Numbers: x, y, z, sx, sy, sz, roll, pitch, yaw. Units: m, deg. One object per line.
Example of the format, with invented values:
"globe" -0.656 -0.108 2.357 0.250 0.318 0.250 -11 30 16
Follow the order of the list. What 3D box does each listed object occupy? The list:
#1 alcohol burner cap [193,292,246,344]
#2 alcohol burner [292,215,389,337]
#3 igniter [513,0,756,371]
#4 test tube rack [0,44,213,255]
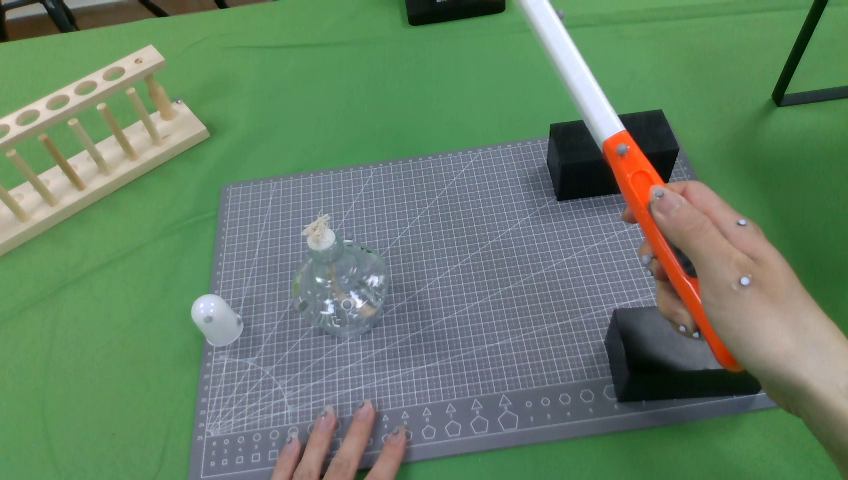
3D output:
"alcohol burner cap" -0.168 0.061 0.495 0.034 0.048 0.033 -3 55 5
"alcohol burner" -0.068 0.024 0.466 0.078 0.120 0.077 -4 52 5
"igniter" 0.121 -0.049 0.369 0.025 0.057 0.274 -28 74 12
"test tube rack" -0.346 -0.091 0.600 0.242 0.086 0.066 -35 58 -18
